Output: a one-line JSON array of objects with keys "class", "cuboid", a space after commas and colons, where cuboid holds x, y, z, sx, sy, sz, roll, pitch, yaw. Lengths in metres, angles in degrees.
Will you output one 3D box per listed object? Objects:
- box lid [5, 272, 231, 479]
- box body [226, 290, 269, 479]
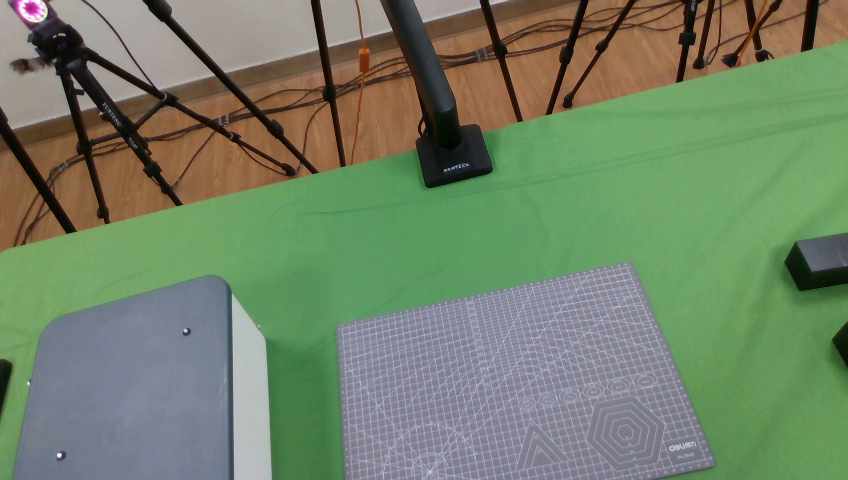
[{"class": "box lid", "cuboid": [-0.353, 0.214, 0.703, 0.263, 0.015, 0.367, -15, 56, 1]}, {"class": "box body", "cuboid": [-0.341, 0.257, 0.763, 0.254, 0.162, 0.360, -15, 55, 0]}]
